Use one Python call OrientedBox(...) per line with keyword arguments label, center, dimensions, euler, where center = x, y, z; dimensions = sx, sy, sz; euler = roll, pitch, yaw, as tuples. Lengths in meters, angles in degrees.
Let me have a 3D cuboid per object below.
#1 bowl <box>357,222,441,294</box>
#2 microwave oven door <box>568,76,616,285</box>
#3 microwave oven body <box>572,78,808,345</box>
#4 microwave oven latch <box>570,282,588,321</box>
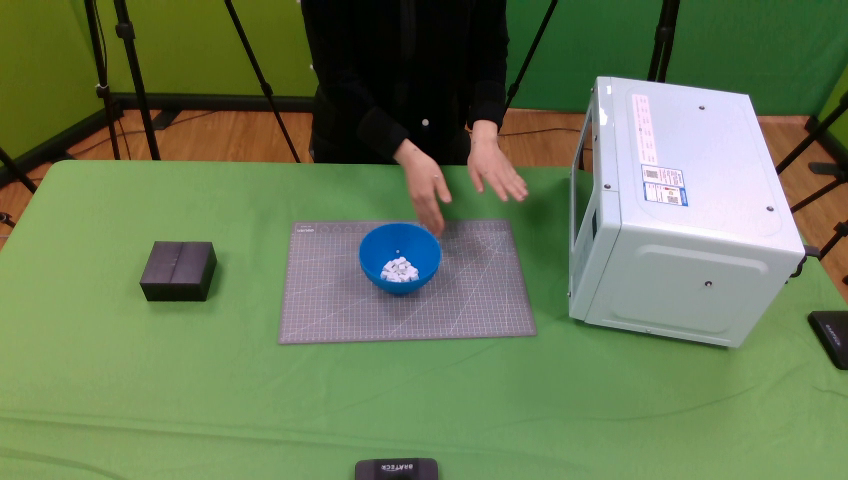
OrientedBox(label="bowl", center=(-0.047, 0.046, 1.107), dimensions=(0.151, 0.077, 0.150), euler=(2, 46, -2))
OrientedBox(label="microwave oven door", center=(0.319, -0.119, 1.161), dimensions=(0.039, 0.245, 0.354), euler=(9, 46, 5))
OrientedBox(label="microwave oven body", center=(0.456, -0.063, 1.124), dimensions=(0.326, 0.261, 0.439), euler=(8, 45, 5))
OrientedBox(label="microwave oven latch", center=(0.276, 0.105, 1.082), dimensions=(0.030, 0.029, 0.079), euler=(10, 45, 6))
